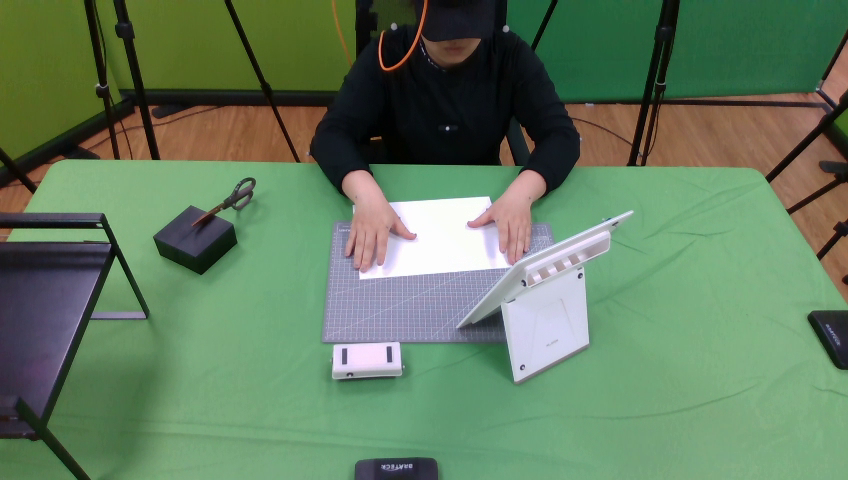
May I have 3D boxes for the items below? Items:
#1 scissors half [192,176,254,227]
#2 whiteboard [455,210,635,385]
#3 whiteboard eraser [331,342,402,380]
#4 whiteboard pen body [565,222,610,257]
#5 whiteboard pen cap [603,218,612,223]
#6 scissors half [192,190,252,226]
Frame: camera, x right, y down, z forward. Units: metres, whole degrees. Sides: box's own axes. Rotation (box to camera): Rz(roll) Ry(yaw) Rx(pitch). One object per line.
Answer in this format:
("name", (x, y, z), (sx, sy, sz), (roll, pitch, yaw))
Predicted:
("scissors half", (-0.388, -0.075, 1.174), (0.013, 0.040, 0.174), (29, 47, 8))
("whiteboard", (0.211, 0.111, 0.955), (0.217, 0.306, 0.143), (-21, 72, -23))
("whiteboard eraser", (-0.094, 0.198, 0.986), (0.113, 0.042, 0.055), (-2, 44, -6))
("whiteboard pen body", (0.334, -0.004, 1.229), (0.141, 0.017, 0.017), (-33, 56, -29))
("whiteboard pen cap", (0.378, -0.031, 1.255), (0.033, 0.018, 0.018), (-33, 57, -30))
("scissors half", (-0.393, -0.060, 1.187), (0.013, 0.040, 0.175), (25, 29, 11))
